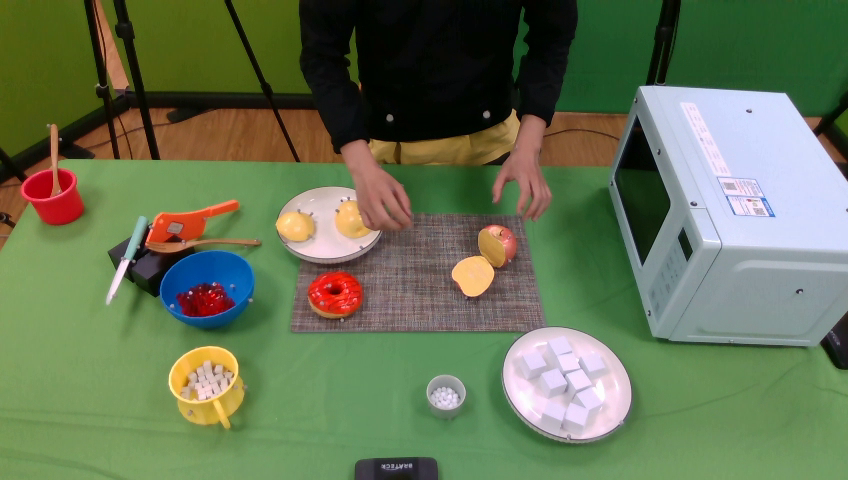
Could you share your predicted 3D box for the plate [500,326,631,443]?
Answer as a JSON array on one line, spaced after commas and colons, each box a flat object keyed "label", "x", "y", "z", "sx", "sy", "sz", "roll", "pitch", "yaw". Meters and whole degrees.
[{"label": "plate", "x": 0.224, "y": 0.234, "z": 0.978, "sx": 0.208, "sy": 0.039, "sz": 0.206, "roll": 2, "pitch": 46, "yaw": -2}]

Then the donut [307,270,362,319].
[{"label": "donut", "x": -0.157, "y": 0.097, "z": 1.073, "sx": 0.099, "sy": 0.048, "sz": 0.098, "roll": 4, "pitch": 46, "yaw": -4}]

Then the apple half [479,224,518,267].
[{"label": "apple half", "x": 0.148, "y": 0.008, "z": 1.160, "sx": 0.053, "sy": 0.075, "sz": 0.080, "roll": -24, "pitch": 48, "yaw": -30}]

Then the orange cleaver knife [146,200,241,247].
[{"label": "orange cleaver knife", "x": -0.435, "y": -0.033, "z": 1.157, "sx": 0.012, "sy": 0.077, "sz": 0.211, "roll": 31, "pitch": 26, "yaw": 18}]

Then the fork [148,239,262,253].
[{"label": "fork", "x": -0.398, "y": 0.008, "z": 1.117, "sx": 0.208, "sy": 0.019, "sz": 0.028, "roll": -5, "pitch": 35, "yaw": -37}]

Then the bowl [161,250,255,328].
[{"label": "bowl", "x": -0.362, "y": 0.097, "z": 1.040, "sx": 0.151, "sy": 0.077, "sz": 0.150, "roll": 2, "pitch": 45, "yaw": -2}]

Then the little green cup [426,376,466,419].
[{"label": "little green cup", "x": 0.033, "y": 0.248, "z": 0.950, "sx": 0.061, "sy": 0.039, "sz": 0.061, "roll": 2, "pitch": 46, "yaw": -2}]

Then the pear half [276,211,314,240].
[{"label": "pear half", "x": -0.244, "y": -0.036, "z": 1.179, "sx": 0.070, "sy": 0.031, "sz": 0.088, "roll": 43, "pitch": 42, "yaw": 3}]

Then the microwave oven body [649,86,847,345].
[{"label": "microwave oven body", "x": 0.567, "y": -0.053, "z": 1.118, "sx": 0.326, "sy": 0.261, "sz": 0.439, "roll": 2, "pitch": 45, "yaw": -1}]

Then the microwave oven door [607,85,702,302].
[{"label": "microwave oven door", "x": 0.423, "y": -0.094, "z": 1.140, "sx": 0.039, "sy": 0.245, "sz": 0.353, "roll": 2, "pitch": 46, "yaw": -1}]

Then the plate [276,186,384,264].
[{"label": "plate", "x": -0.184, "y": -0.027, "z": 1.195, "sx": 0.209, "sy": 0.038, "sz": 0.208, "roll": 2, "pitch": 46, "yaw": -2}]

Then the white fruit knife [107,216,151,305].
[{"label": "white fruit knife", "x": -0.518, "y": 0.032, "z": 1.066, "sx": 0.027, "sy": 0.016, "sz": 0.206, "roll": -18, "pitch": 45, "yaw": 19}]

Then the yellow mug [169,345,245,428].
[{"label": "yellow mug", "x": -0.322, "y": 0.230, "z": 0.922, "sx": 0.100, "sy": 0.064, "sz": 0.130, "roll": -24, "pitch": 53, "yaw": -25}]

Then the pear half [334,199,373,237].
[{"label": "pear half", "x": -0.147, "y": -0.059, "z": 1.210, "sx": 0.076, "sy": 0.056, "sz": 0.109, "roll": -16, "pitch": 44, "yaw": -25}]

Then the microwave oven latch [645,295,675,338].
[{"label": "microwave oven latch", "x": 0.411, "y": 0.134, "z": 1.061, "sx": 0.030, "sy": 0.029, "sz": 0.078, "roll": 3, "pitch": 45, "yaw": 0}]

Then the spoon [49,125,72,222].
[{"label": "spoon", "x": -0.717, "y": -0.131, "z": 1.189, "sx": 0.042, "sy": 0.021, "sz": 0.193, "roll": -3, "pitch": 90, "yaw": -7}]

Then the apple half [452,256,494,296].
[{"label": "apple half", "x": 0.095, "y": 0.069, "z": 1.120, "sx": 0.081, "sy": 0.033, "sz": 0.081, "roll": -6, "pitch": 63, "yaw": 13}]
